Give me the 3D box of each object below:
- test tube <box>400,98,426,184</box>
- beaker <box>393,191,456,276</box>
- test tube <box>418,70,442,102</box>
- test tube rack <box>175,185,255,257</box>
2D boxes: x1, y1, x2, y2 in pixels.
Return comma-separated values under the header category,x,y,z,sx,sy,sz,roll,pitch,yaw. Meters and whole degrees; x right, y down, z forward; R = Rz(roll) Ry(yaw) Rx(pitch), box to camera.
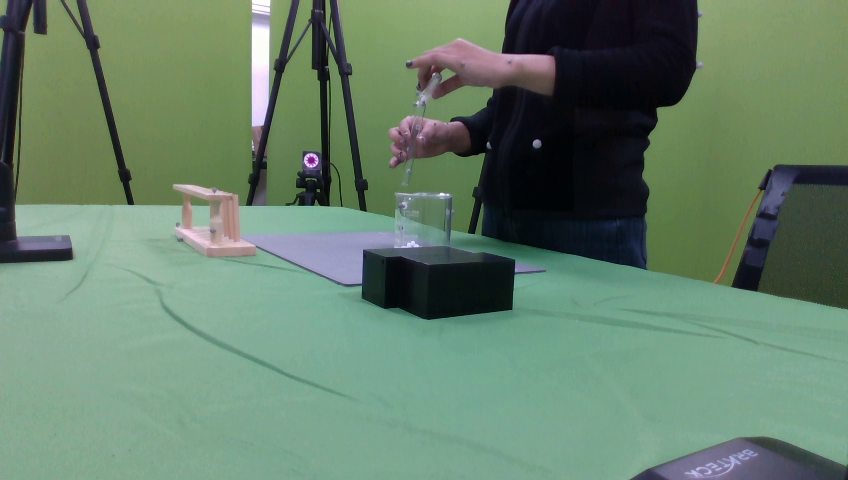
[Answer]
category,x,y,z,sx,sy,sz,roll,pitch,yaw
test tube,-0.019,-0.162,1.008,0.017,0.150,0.017,11,25,-5
beaker,-0.003,-0.010,0.749,0.074,0.100,0.083,-3,8,-40
test tube,0.008,-0.229,0.906,0.017,0.017,0.150,1,1,-8
test tube rack,-0.324,-0.035,0.922,0.067,0.085,0.241,-2,9,-32
